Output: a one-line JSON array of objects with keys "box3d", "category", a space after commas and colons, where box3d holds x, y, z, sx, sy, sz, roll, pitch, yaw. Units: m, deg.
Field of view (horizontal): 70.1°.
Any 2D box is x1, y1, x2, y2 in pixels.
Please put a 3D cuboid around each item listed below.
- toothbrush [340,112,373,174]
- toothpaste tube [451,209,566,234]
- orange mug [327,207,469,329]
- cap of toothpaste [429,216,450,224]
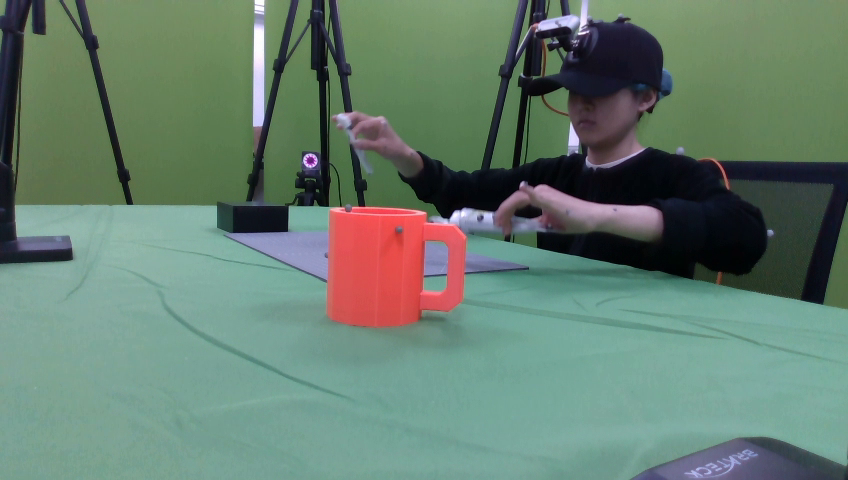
[{"box3d": [-0.115, -0.168, 1.073, 0.016, 0.014, 0.182, 12, -22, 16], "category": "toothbrush"}, {"box3d": [0.107, -0.022, 0.828, 0.164, 0.034, 0.055, 6, 13, 33], "category": "toothpaste tube"}, {"box3d": [-0.024, 0.021, 0.535, 0.126, 0.100, 0.083, -1, 6, 8], "category": "orange mug"}, {"box3d": [0.024, -0.021, 0.864, 0.037, 0.037, 0.011, 7, 36, 27], "category": "cap of toothpaste"}]
